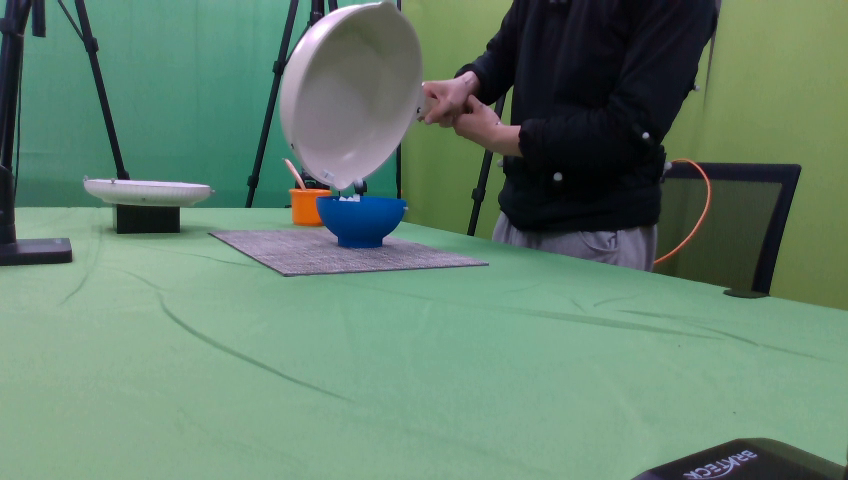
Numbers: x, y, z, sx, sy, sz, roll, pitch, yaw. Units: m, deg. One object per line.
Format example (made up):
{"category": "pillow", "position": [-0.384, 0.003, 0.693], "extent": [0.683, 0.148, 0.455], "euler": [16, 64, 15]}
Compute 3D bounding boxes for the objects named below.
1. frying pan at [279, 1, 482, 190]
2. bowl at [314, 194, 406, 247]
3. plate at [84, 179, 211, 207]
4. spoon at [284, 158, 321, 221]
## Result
{"category": "frying pan", "position": [-0.049, -0.240, 1.044], "extent": [0.102, 0.306, 0.490], "euler": [34, 25, 34]}
{"category": "bowl", "position": [-0.105, -0.033, 0.991], "extent": [0.151, 0.077, 0.151], "euler": [2, 8, 0]}
{"category": "plate", "position": [-0.495, -0.085, 1.093], "extent": [0.208, 0.039, 0.207], "euler": [4, 7, 0]}
{"category": "spoon", "position": [-0.269, -0.113, 1.336], "extent": [0.042, 0.193, 0.021], "euler": [-3, -35, -43]}
